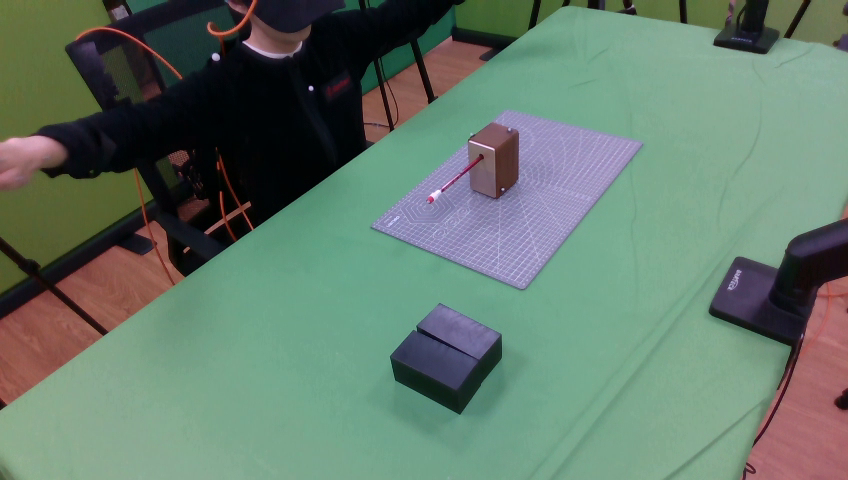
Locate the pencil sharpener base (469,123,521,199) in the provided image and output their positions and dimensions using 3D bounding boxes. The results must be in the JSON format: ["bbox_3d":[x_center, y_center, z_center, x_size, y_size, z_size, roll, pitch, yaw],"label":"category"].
[{"bbox_3d":[0.126,-0.138,1.050,0.061,0.107,0.077,24,50,33],"label":"pencil sharpener base"}]

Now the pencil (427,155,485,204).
[{"bbox_3d":[0.070,-0.112,0.989,0.012,0.012,0.194,26,51,33],"label":"pencil"}]

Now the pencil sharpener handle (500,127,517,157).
[{"bbox_3d":[0.153,-0.178,1.072,0.036,0.068,0.031,37,55,17],"label":"pencil sharpener handle"}]
